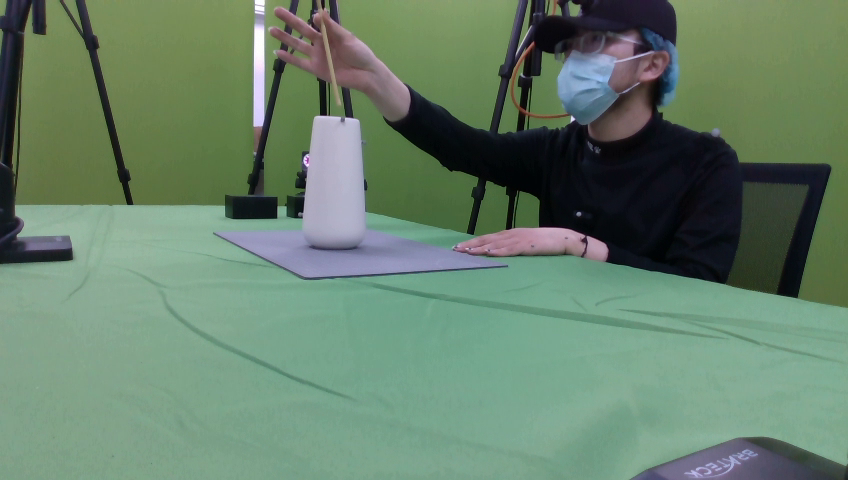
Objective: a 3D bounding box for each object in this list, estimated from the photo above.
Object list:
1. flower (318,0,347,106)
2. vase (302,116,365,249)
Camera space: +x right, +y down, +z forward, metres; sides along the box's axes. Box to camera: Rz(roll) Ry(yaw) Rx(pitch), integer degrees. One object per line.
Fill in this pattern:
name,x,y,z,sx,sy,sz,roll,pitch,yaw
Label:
flower,-0.165,-0.382,0.910,0.044,0.361,0.038,-20,10,-37
vase,-0.139,-0.088,0.931,0.098,0.200,0.098,2,9,0
